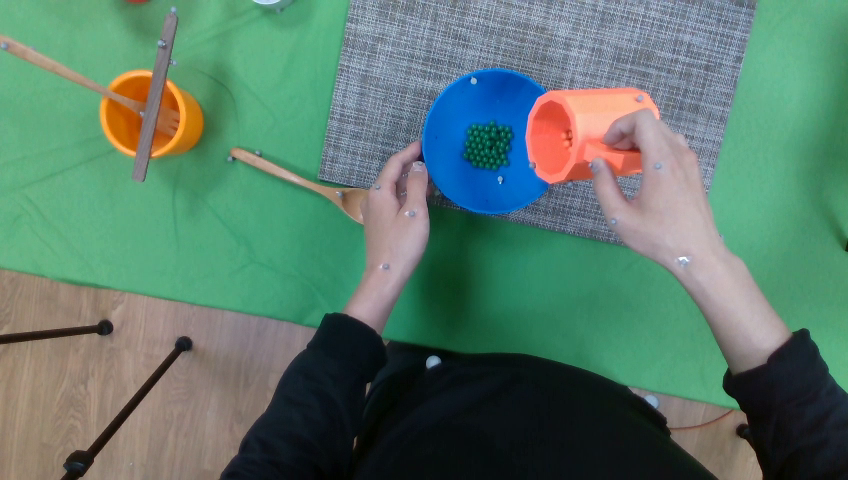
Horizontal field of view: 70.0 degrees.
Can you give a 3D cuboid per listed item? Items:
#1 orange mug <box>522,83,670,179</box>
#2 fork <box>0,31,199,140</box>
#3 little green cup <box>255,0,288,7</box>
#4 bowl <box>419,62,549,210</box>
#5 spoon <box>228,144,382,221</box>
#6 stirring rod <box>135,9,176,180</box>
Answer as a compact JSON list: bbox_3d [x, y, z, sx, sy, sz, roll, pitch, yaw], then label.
[{"bbox_3d":[0.165,-0.099,0.573,0.101,0.125,0.084,-6,118,-18],"label":"orange mug"},{"bbox_3d":[-0.331,-0.157,0.627,0.209,0.018,0.028,26,101,-46],"label":"fork"},{"bbox_3d":[-0.172,-0.288,0.666,0.061,0.038,0.061,0,97,1],"label":"little green cup"},{"bbox_3d":[0.070,-0.110,0.666,0.151,0.076,0.151,0,98,1],"label":"bowl"},{"bbox_3d":[-0.138,-0.071,0.701,0.194,0.021,0.042,22,111,-3],"label":"spoon"},{"bbox_3d":[-0.278,-0.148,0.626,0.014,0.006,0.176,13,97,0],"label":"stirring rod"}]
